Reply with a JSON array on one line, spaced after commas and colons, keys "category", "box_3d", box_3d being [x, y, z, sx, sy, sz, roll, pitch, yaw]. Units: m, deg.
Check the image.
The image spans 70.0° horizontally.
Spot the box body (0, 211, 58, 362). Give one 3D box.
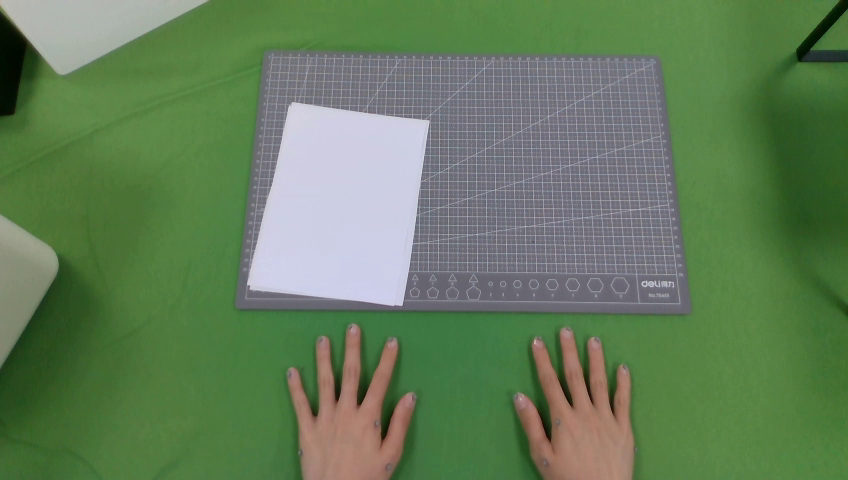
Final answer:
[{"category": "box body", "box_3d": [-0.559, 0.032, 0.525, 0.363, 0.161, 0.253, 21, 73, 6]}]

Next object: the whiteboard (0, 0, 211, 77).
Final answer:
[{"category": "whiteboard", "box_3d": [-0.384, -0.370, 0.614, 0.217, 0.308, 0.142, -32, 55, -10]}]
